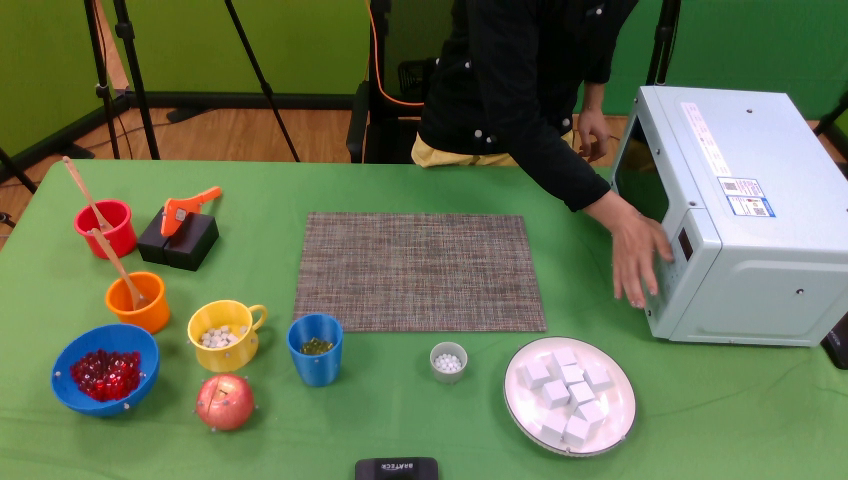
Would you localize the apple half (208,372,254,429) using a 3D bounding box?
[{"bbox_3d":[-0.282,0.244,0.907,0.053,0.075,0.080,7,43,-1],"label":"apple half"}]

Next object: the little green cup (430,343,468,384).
[{"bbox_3d":[0.039,0.204,0.993,0.061,0.039,0.061,2,46,-2],"label":"little green cup"}]

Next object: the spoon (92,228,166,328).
[{"bbox_3d":[-0.495,0.063,1.014,0.041,0.194,0.021,-34,12,-32],"label":"spoon"}]

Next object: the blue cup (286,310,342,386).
[{"bbox_3d":[-0.169,0.179,0.958,0.093,0.101,0.092,1,44,-1],"label":"blue cup"}]

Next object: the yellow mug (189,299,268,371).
[{"bbox_3d":[-0.316,0.148,1.002,0.131,0.064,0.099,-32,56,-31],"label":"yellow mug"}]

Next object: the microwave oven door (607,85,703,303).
[{"bbox_3d":[0.423,-0.094,1.141,0.039,0.245,0.353,2,46,-1],"label":"microwave oven door"}]

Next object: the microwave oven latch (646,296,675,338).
[{"bbox_3d":[0.412,0.134,1.061,0.030,0.029,0.078,3,45,0],"label":"microwave oven latch"}]

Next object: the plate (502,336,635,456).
[{"bbox_3d":[0.225,0.248,0.963,0.208,0.039,0.206,2,46,-2],"label":"plate"}]

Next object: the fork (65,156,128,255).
[{"bbox_3d":[-0.614,-0.064,1.130,0.028,0.018,0.207,-29,97,-17],"label":"fork"}]

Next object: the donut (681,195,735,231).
[{"bbox_3d":[0.551,-0.054,1.177,0.099,0.048,0.098,1,36,0],"label":"donut"}]

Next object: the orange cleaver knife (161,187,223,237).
[{"bbox_3d":[-0.448,-0.058,1.180,0.012,0.077,0.211,13,17,6],"label":"orange cleaver knife"}]

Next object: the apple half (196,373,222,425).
[{"bbox_3d":[-0.322,0.239,0.907,0.033,0.081,0.081,7,46,-1],"label":"apple half"}]

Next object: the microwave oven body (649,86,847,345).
[{"bbox_3d":[0.568,-0.053,1.118,0.326,0.261,0.439,2,45,-1],"label":"microwave oven body"}]

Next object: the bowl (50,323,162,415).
[{"bbox_3d":[-0.472,0.209,0.924,0.151,0.077,0.150,2,45,-2],"label":"bowl"}]

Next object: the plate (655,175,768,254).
[{"bbox_3d":[0.555,-0.046,1.184,0.209,0.038,0.208,2,46,-2],"label":"plate"}]
